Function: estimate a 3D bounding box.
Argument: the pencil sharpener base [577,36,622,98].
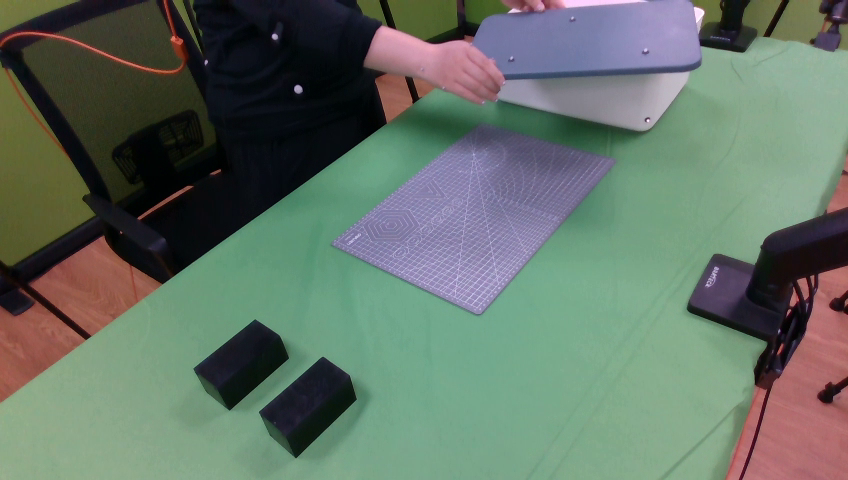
[{"bbox_3d":[0.364,-0.363,1.267,0.076,0.107,0.061,20,48,30],"label":"pencil sharpener base"}]

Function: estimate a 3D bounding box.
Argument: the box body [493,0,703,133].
[{"bbox_3d":[0.346,-0.374,1.251,0.361,0.161,0.255,20,48,29],"label":"box body"}]

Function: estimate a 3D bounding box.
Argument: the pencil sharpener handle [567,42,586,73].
[{"bbox_3d":[0.321,-0.388,1.283,0.030,0.068,0.036,20,47,30],"label":"pencil sharpener handle"}]

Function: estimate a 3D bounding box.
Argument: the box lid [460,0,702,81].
[{"bbox_3d":[0.260,-0.335,1.010,0.370,0.015,0.263,2,41,17],"label":"box lid"}]
